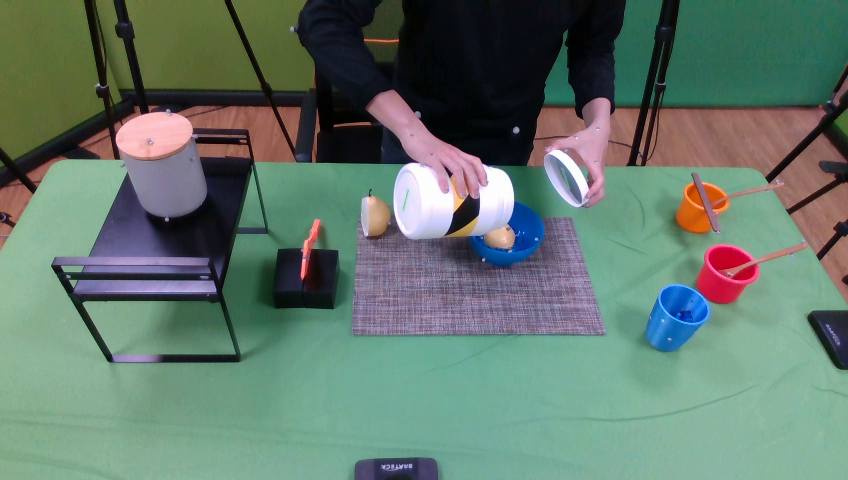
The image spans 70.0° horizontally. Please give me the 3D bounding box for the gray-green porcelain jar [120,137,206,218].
[{"bbox_3d":[-0.403,-0.106,0.946,0.106,0.127,0.105,3,46,-2],"label":"gray-green porcelain jar"}]

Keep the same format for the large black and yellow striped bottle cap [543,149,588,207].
[{"bbox_3d":[0.259,-0.114,1.111,0.019,0.115,0.114,-31,53,-5],"label":"large black and yellow striped bottle cap"}]

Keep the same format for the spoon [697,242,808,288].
[{"bbox_3d":[0.601,0.044,1.116,0.194,0.022,0.041,-29,34,30],"label":"spoon"}]

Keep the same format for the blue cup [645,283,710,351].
[{"bbox_3d":[0.426,0.139,1.041,0.093,0.100,0.092,4,46,-4],"label":"blue cup"}]

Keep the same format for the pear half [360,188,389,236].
[{"bbox_3d":[-0.096,-0.060,1.181,0.056,0.110,0.076,-14,52,-17],"label":"pear half"}]

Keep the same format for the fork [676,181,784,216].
[{"bbox_3d":[0.618,-0.083,1.235,0.207,0.019,0.028,-23,21,38],"label":"fork"}]

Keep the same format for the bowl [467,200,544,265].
[{"bbox_3d":[0.150,-0.004,1.167,0.151,0.077,0.150,2,46,-2],"label":"bowl"}]

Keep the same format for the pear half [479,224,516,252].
[{"bbox_3d":[0.145,-0.013,1.167,0.070,0.031,0.087,-21,55,-18],"label":"pear half"}]

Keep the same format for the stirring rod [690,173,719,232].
[{"bbox_3d":[0.566,-0.080,1.225,0.014,0.006,0.175,2,46,2],"label":"stirring rod"}]

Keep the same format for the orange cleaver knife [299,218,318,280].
[{"bbox_3d":[-0.214,0.013,1.125,0.012,0.077,0.210,6,17,-5],"label":"orange cleaver knife"}]

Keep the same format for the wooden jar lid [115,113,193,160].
[{"bbox_3d":[-0.399,-0.151,0.900,0.108,0.021,0.107,3,46,-3],"label":"wooden jar lid"}]

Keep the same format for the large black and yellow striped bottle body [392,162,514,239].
[{"bbox_3d":[0.051,-0.070,1.055,0.184,0.131,0.130,-3,45,-26],"label":"large black and yellow striped bottle body"}]
